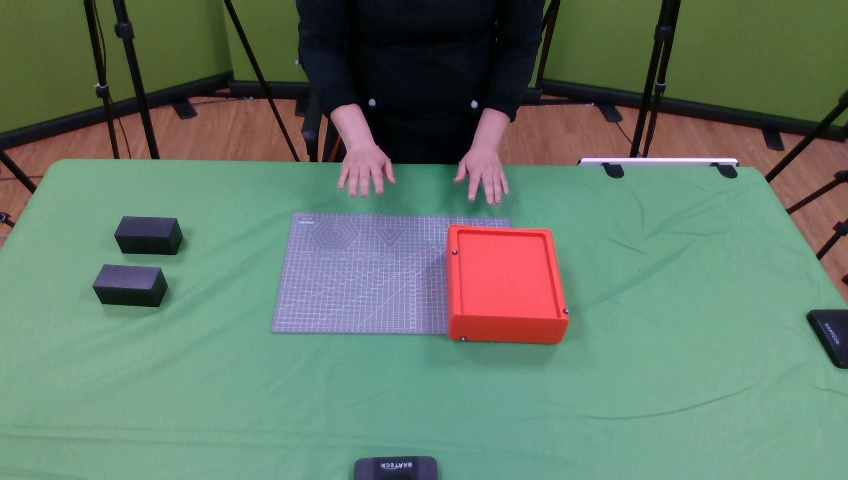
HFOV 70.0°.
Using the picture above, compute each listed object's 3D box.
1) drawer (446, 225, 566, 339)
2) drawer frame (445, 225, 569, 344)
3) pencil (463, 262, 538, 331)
[{"bbox_3d":[0.139,0.073,1.094,0.194,0.073,0.210,3,47,-3],"label":"drawer"},{"bbox_3d":[0.141,0.076,1.089,0.202,0.083,0.212,3,47,-4],"label":"drawer frame"},{"bbox_3d":[0.135,0.098,1.098,0.012,0.012,0.193,-28,54,-28],"label":"pencil"}]
